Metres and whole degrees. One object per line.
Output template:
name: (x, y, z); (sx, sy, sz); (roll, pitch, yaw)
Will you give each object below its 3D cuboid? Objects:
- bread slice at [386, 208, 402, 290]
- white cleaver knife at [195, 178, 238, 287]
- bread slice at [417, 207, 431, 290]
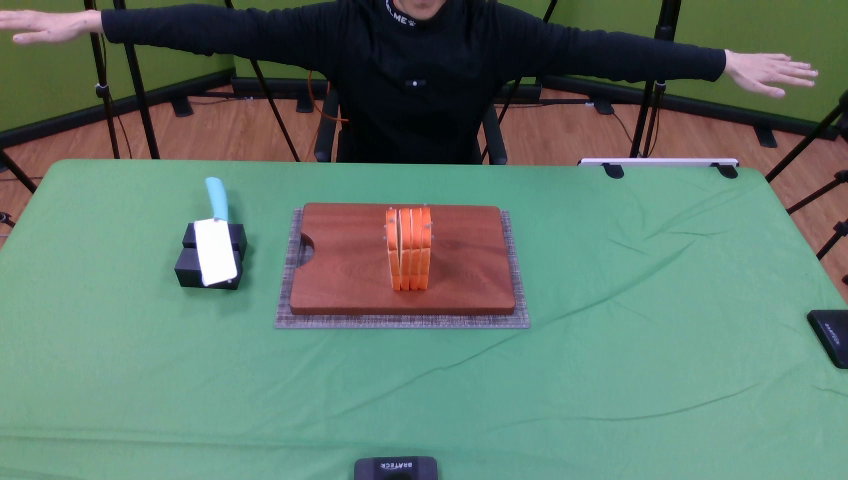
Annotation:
bread slice: (-0.053, 0.009, 1.069); (0.019, 0.132, 0.104); (-5, 45, 0)
white cleaver knife: (-0.393, -0.024, 1.132); (0.066, 0.021, 0.284); (-11, 46, -14)
bread slice: (0.000, 0.009, 1.071); (0.018, 0.135, 0.106); (0, 49, -4)
